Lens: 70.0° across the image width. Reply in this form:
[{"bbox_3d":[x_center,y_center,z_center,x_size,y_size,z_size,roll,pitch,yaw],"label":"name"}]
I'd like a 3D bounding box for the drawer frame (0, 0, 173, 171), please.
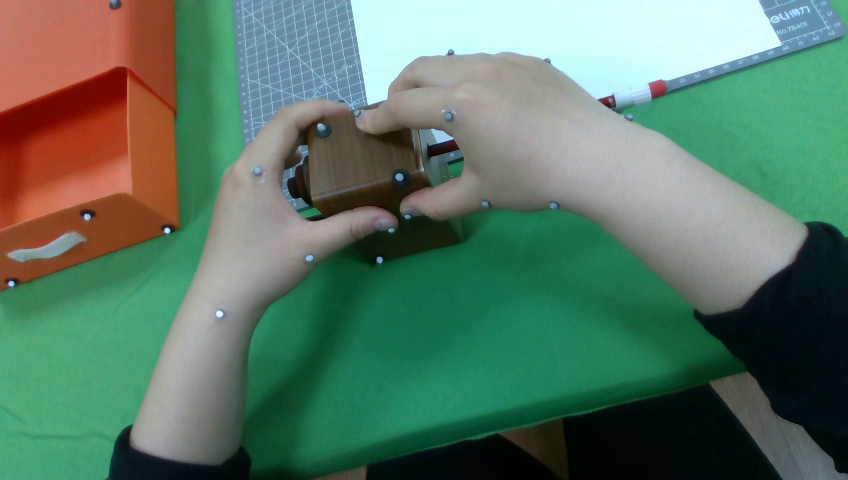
[{"bbox_3d":[-0.343,-0.185,0.568,0.201,0.083,0.211,-18,64,10],"label":"drawer frame"}]

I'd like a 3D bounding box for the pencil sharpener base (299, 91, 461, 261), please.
[{"bbox_3d":[-0.026,-0.036,0.400,0.076,0.108,0.061,-15,65,12],"label":"pencil sharpener base"}]

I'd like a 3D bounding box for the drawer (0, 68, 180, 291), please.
[{"bbox_3d":[-0.317,-0.081,0.521,0.194,0.074,0.210,-18,64,10],"label":"drawer"}]

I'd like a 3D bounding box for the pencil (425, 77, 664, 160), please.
[{"bbox_3d":[0.043,-0.063,0.359,0.194,0.012,0.012,-16,65,9],"label":"pencil"}]

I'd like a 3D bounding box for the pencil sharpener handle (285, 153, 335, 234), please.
[{"bbox_3d":[-0.078,-0.026,0.398,0.030,0.068,0.035,-14,56,12],"label":"pencil sharpener handle"}]
